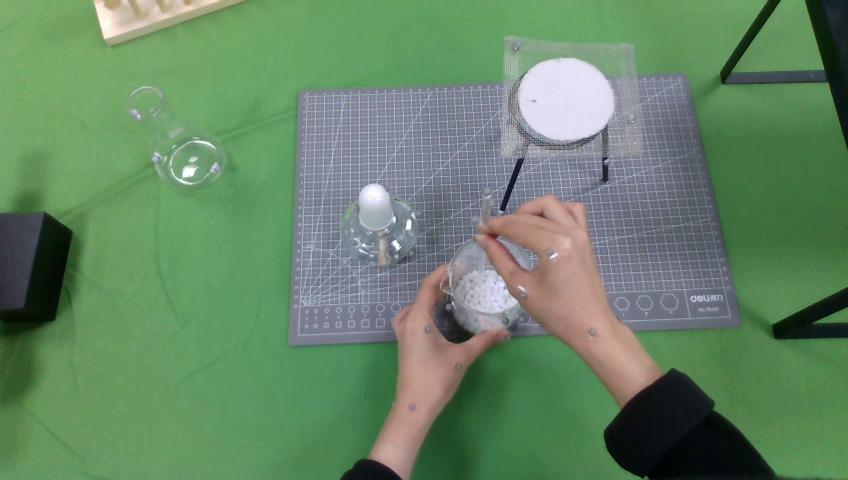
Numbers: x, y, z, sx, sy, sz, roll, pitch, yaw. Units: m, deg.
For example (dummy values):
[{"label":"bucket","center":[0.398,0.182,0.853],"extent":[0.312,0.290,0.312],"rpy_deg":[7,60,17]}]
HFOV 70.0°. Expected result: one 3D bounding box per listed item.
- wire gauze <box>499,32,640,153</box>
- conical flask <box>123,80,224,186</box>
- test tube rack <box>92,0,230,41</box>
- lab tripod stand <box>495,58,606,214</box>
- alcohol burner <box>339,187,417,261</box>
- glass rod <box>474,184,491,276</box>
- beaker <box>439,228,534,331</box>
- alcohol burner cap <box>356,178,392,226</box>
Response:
[{"label":"wire gauze","center":[0.129,-0.132,0.539],"extent":[0.121,0.011,0.124],"rpy_deg":[3,70,1]},{"label":"conical flask","center":[-0.260,-0.113,0.620],"extent":[0.075,0.122,0.075],"rpy_deg":[0,69,1]},{"label":"test tube rack","center":[-0.285,-0.327,0.718],"extent":[0.242,0.086,0.066],"rpy_deg":[-22,71,-7]},{"label":"lab tripod stand","center":[0.123,-0.104,0.601],"extent":[0.148,0.132,0.147],"rpy_deg":[0,68,0]},{"label":"alcohol burner","center":[-0.046,-0.023,0.585],"extent":[0.078,0.120,0.077],"rpy_deg":[0,68,0]},{"label":"glass rod","center":[0.048,-0.002,0.511],"extent":[0.008,0.201,0.008],"rpy_deg":[-1,69,3]},{"label":"beaker","center":[0.056,0.043,0.567],"extent":[0.084,0.101,0.073],"rpy_deg":[-12,69,-3]},{"label":"alcohol burner cap","center":[-0.047,-0.038,0.552],"extent":[0.034,0.048,0.033],"rpy_deg":[1,63,-1]}]
